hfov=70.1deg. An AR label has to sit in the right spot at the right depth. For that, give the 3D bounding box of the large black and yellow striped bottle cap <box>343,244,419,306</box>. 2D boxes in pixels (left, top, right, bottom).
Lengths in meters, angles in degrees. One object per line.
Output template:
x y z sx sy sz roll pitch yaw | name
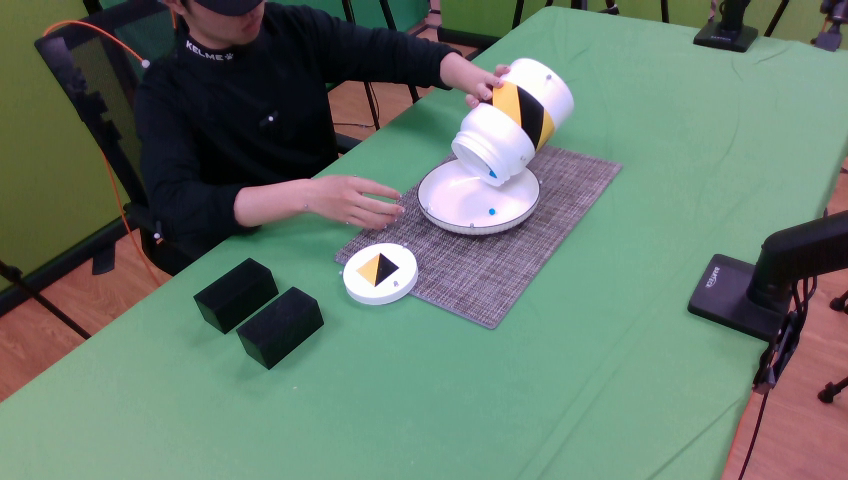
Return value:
-0.066 0.051 0.918 0.115 0.019 0.114 -6 43 6 | large black and yellow striped bottle cap

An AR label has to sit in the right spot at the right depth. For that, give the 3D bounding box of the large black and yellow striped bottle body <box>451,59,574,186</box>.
0.144 -0.192 1.007 0.184 0.132 0.129 -49 51 -7 | large black and yellow striped bottle body

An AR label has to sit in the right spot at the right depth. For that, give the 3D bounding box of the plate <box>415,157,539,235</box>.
0.090 -0.074 1.025 0.207 0.039 0.206 -4 41 4 | plate
